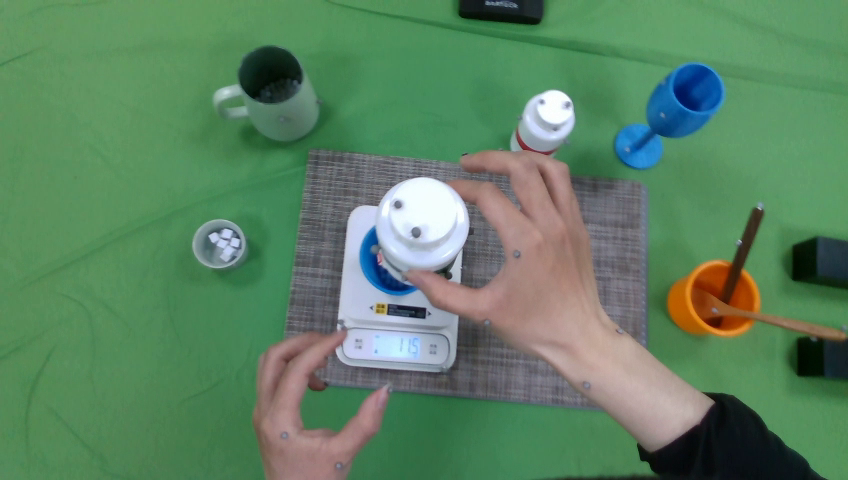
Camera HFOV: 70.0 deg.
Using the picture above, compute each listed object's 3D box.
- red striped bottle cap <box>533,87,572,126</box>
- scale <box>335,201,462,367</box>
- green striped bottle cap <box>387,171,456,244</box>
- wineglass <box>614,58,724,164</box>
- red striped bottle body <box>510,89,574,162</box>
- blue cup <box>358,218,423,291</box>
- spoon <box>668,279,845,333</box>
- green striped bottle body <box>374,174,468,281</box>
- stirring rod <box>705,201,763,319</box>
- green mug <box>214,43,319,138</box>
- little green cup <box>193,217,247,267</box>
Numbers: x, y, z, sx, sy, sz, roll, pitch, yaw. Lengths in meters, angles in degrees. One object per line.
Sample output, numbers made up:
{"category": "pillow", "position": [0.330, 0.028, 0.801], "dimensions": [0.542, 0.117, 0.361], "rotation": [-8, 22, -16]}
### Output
{"category": "red striped bottle cap", "position": [0.153, -0.158, 0.715], "dimensions": [0.044, 0.018, 0.044], "rotation": [1, 75, -3]}
{"category": "scale", "position": [-0.029, 0.054, 0.756], "dimensions": [0.149, 0.031, 0.200], "rotation": [5, 78, -2]}
{"category": "green striped bottle cap", "position": [-0.001, -0.021, 0.381], "dimensions": [0.044, 0.020, 0.044], "rotation": [1, 78, -4]}
{"category": "wineglass", "position": [0.297, -0.154, 0.750], "dimensions": [0.074, 0.173, 0.073], "rotation": [1, 78, -2]}
{"category": "red striped bottle body", "position": [0.150, -0.148, 0.768], "dimensions": [0.063, 0.120, 0.063], "rotation": [1, 78, -3]}
{"category": "blue cup", "position": [-0.030, 0.021, 0.696], "dimensions": [0.093, 0.100, 0.092], "rotation": [1, 80, -3]}
{"category": "spoon", "position": [0.386, 0.082, 0.720], "dimensions": [0.022, 0.192, 0.041], "rotation": [25, 82, -42]}
{"category": "green striped bottle body", "position": [-0.003, -0.008, 0.435], "dimensions": [0.063, 0.119, 0.063], "rotation": [1, 78, -2]}
{"category": "stirring rod", "position": [0.372, 0.029, 0.730], "dimensions": [0.014, 0.177, 0.006], "rotation": [11, 37, 12]}
{"category": "green mug", "position": [-0.199, -0.182, 0.762], "dimensions": [0.125, 0.105, 0.092], "rotation": [-16, 80, -6]}
{"category": "little green cup", "position": [-0.250, 0.005, 0.753], "dimensions": [0.061, 0.039, 0.061], "rotation": [1, 78, -4]}
